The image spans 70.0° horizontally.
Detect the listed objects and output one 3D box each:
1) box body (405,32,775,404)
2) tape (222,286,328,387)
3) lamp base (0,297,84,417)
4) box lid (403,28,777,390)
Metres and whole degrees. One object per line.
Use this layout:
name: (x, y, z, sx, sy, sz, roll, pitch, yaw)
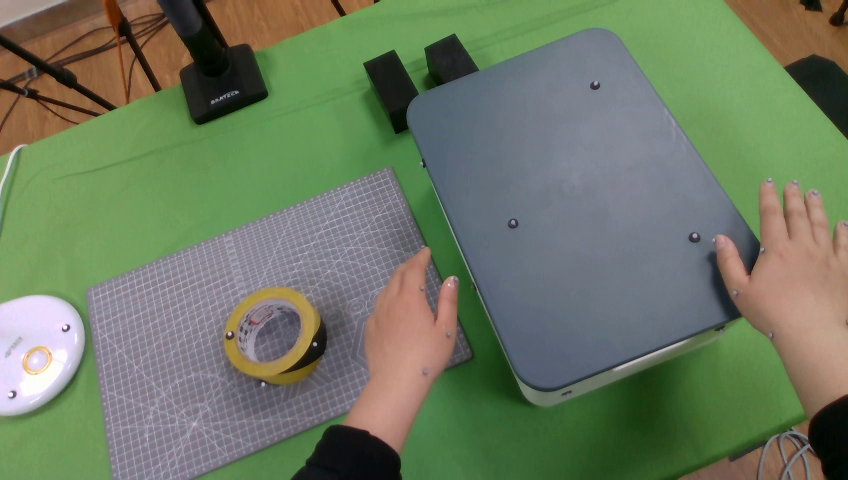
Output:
box body: (0.161, -0.023, 0.693, 0.254, 0.162, 0.360, -22, 64, -2)
tape: (-0.181, 0.117, 0.738, 0.117, 0.053, 0.116, -3, 64, 6)
lamp base: (-0.544, 0.115, 0.725, 0.178, 0.182, 0.160, 12, 67, 17)
box lid: (0.150, -0.057, 0.628, 0.263, 0.015, 0.368, -22, 64, -2)
